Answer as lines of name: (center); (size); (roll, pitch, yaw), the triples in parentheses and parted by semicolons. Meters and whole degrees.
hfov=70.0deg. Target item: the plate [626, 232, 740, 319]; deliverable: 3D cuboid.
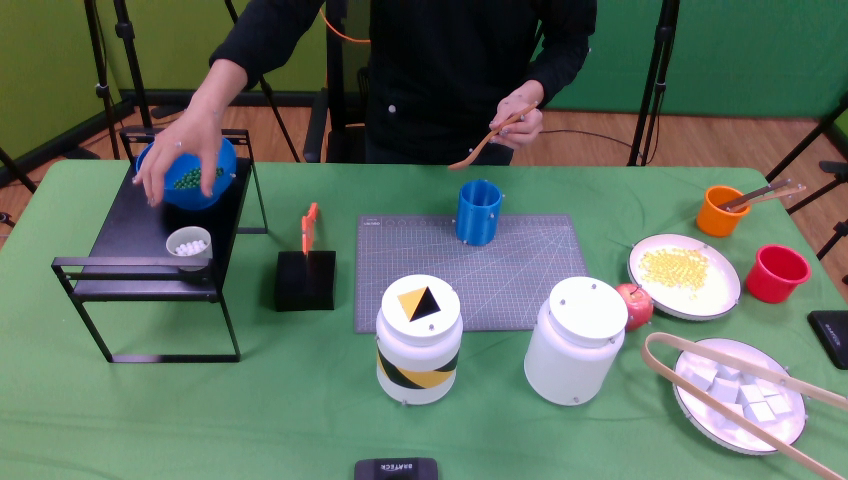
plate: (0.489, 0.070, 1.157); (0.209, 0.038, 0.208); (3, 46, -3)

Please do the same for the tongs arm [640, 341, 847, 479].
tongs arm: (0.500, 0.278, 0.919); (0.386, 0.028, 0.028); (34, 59, 22)

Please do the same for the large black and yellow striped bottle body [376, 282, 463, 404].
large black and yellow striped bottle body: (-0.010, 0.155, 0.937); (0.131, 0.185, 0.130); (2, 47, -2)

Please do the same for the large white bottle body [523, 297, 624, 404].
large white bottle body: (0.235, 0.159, 0.952); (0.131, 0.185, 0.130); (2, 47, -2)

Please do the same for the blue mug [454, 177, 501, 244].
blue mug: (0.106, -0.067, 1.208); (0.082, 0.106, 0.116); (6, 46, 1)

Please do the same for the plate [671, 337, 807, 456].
plate: (0.504, 0.254, 0.984); (0.208, 0.039, 0.206); (2, 46, -2)

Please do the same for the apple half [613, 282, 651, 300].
apple half: (0.356, 0.109, 1.086); (0.081, 0.075, 0.053); (-13, 44, -12)

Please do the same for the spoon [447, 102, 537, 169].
spoon: (0.111, -0.173, 1.016); (0.021, 0.194, 0.041); (52, 34, 1)

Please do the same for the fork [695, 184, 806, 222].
fork: (0.658, -0.074, 1.230); (0.207, 0.019, 0.028); (-24, 33, 36)

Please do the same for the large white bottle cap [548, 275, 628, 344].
large white bottle cap: (0.240, 0.100, 0.890); (0.115, 0.018, 0.114); (3, 47, -3)

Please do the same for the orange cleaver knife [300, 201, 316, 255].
orange cleaver knife: (-0.221, -0.027, 1.160); (0.012, 0.077, 0.210); (-1, 15, -4)

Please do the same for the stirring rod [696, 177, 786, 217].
stirring rod: (0.648, -0.087, 1.244); (0.176, 0.006, 0.014); (-25, 50, 29)

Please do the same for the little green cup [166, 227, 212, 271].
little green cup: (-0.344, 0.014, 0.895); (0.061, 0.039, 0.061); (3, 46, -3)

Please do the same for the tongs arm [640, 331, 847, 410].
tongs arm: (0.543, 0.226, 0.969); (0.384, 0.026, 0.050); (22, 52, 13)

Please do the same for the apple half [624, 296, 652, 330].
apple half: (0.368, 0.135, 1.060); (0.081, 0.081, 0.032); (-11, 43, -15)

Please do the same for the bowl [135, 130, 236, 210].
bowl: (-0.375, -0.102, 0.977); (0.151, 0.077, 0.150); (2, 46, -2)

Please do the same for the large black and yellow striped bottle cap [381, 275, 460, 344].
large black and yellow striped bottle cap: (-0.005, 0.099, 0.875); (0.115, 0.019, 0.114); (2, 45, -2)
